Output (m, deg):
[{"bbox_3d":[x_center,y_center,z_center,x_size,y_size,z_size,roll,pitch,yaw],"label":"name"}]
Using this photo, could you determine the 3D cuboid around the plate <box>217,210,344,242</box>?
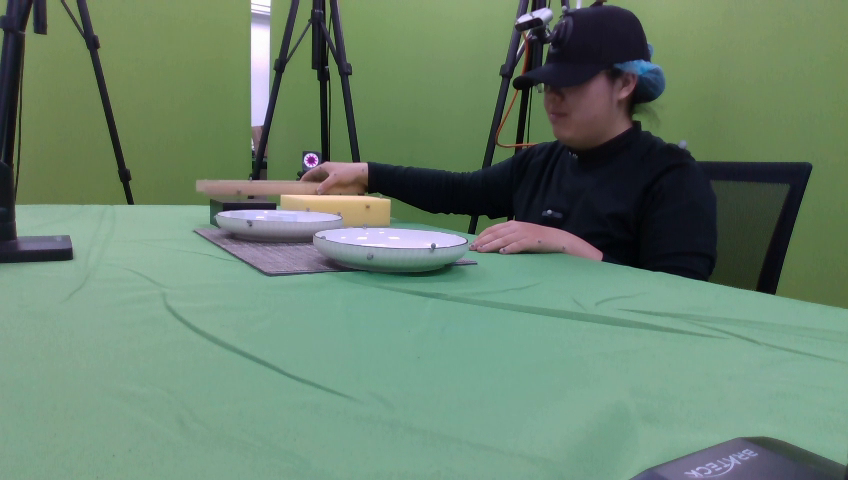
[{"bbox_3d":[-0.241,-0.024,1.026,0.208,0.039,0.207,3,7,0],"label":"plate"}]

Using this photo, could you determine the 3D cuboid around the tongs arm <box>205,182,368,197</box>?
[{"bbox_3d":[-0.291,-0.114,1.352,0.390,0.028,0.028,-5,7,-34],"label":"tongs arm"}]

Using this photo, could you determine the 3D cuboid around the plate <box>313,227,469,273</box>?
[{"bbox_3d":[-0.044,0.012,0.807,0.209,0.038,0.209,2,7,0],"label":"plate"}]

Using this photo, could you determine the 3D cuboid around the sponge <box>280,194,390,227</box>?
[{"bbox_3d":[-0.188,-0.063,1.291,0.208,0.061,0.117,-2,9,-35],"label":"sponge"}]

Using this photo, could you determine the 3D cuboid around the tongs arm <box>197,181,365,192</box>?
[{"bbox_3d":[-0.320,-0.124,1.405,0.387,0.026,0.050,-3,9,-27],"label":"tongs arm"}]
